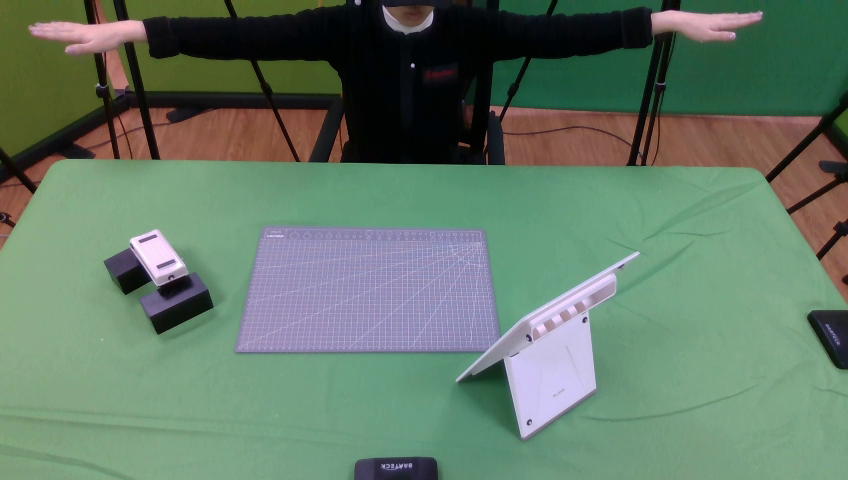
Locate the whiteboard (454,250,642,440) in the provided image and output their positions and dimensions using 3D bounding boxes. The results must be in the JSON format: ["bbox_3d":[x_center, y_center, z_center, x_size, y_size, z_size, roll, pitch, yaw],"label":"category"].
[{"bbox_3d":[0.206,0.175,0.889,0.217,0.306,0.143,-24,72,-25],"label":"whiteboard"}]

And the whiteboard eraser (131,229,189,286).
[{"bbox_3d":[-0.458,0.032,1.050,0.055,0.042,0.112,-29,57,-30],"label":"whiteboard eraser"}]
